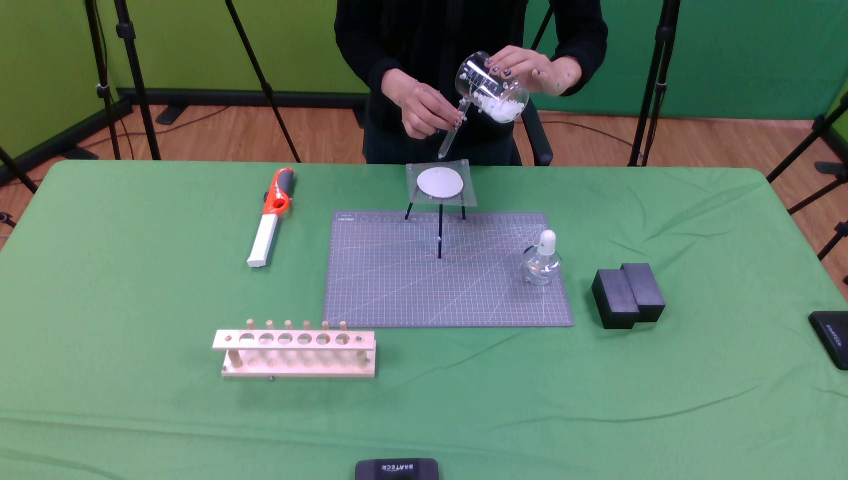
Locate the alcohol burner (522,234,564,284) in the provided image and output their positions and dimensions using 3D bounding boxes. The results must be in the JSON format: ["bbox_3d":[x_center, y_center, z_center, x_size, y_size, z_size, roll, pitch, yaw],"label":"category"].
[{"bbox_3d":[0.223,0.027,1.120,0.078,0.119,0.077,2,48,-2],"label":"alcohol burner"}]

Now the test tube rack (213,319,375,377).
[{"bbox_3d":[-0.202,0.170,0.977,0.242,0.085,0.066,1,46,-3],"label":"test tube rack"}]

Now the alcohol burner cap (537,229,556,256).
[{"bbox_3d":[0.223,0.001,1.095,0.034,0.048,0.033,-1,44,1],"label":"alcohol burner cap"}]

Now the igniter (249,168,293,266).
[{"bbox_3d":[-0.307,-0.055,1.225,0.057,0.025,0.275,-3,45,6],"label":"igniter"}]

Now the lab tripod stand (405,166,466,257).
[{"bbox_3d":[0.030,-0.063,1.180,0.148,0.132,0.147,3,47,-3],"label":"lab tripod stand"}]

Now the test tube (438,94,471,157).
[{"bbox_3d":[0.051,-0.194,1.044,0.017,0.150,0.017,8,57,-13],"label":"test tube"}]

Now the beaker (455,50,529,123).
[{"bbox_3d":[0.106,-0.232,0.936,0.074,0.084,0.099,-15,49,-36],"label":"beaker"}]

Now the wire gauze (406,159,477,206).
[{"bbox_3d":[0.031,-0.108,1.129,0.125,0.011,0.120,-1,48,-5],"label":"wire gauze"}]
